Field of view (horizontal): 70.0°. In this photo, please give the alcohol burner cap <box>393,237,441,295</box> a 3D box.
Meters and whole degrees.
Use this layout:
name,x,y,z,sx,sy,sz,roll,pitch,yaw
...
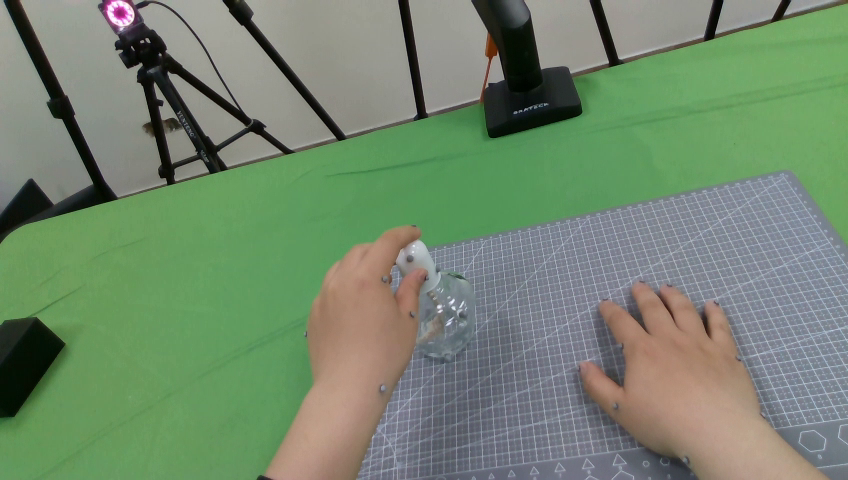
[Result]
name,x,y,z,sx,sy,sz,roll,pitch,yaw
alcohol burner cap,-0.007,0.018,0.491,0.034,0.048,0.033,-11,43,11

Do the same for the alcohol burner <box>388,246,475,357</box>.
name,x,y,z,sx,sy,sz,roll,pitch,yaw
alcohol burner,0.002,0.044,0.515,0.078,0.120,0.077,-11,41,10
